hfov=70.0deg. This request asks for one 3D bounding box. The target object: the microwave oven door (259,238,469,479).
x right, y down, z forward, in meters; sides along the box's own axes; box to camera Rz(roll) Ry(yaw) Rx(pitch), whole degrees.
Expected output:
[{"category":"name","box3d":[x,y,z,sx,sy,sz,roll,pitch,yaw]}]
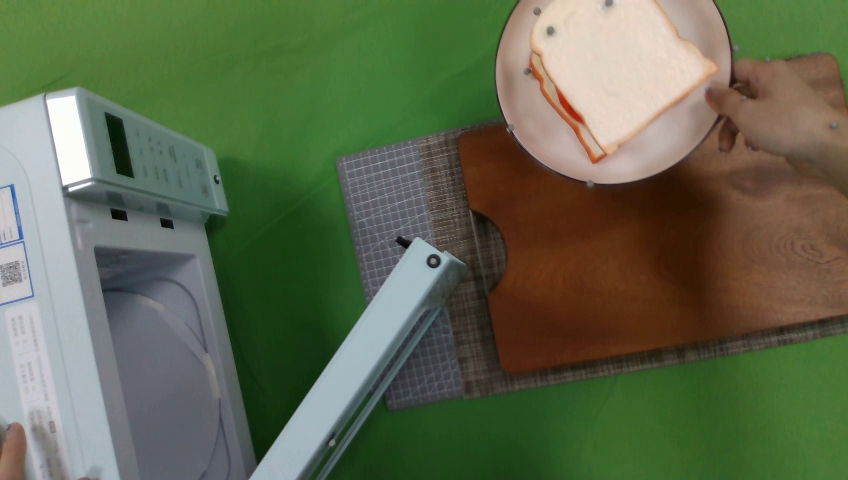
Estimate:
[{"category":"microwave oven door","box3d":[-0.076,0.153,0.560,0.039,0.244,0.356,34,92,8]}]

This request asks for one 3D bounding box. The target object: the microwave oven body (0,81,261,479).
[{"category":"microwave oven body","box3d":[-0.363,0.128,0.600,0.326,0.260,0.441,-15,87,5]}]

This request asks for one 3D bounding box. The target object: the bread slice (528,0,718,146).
[{"category":"bread slice","box3d":[0.152,-0.158,0.503,0.107,0.018,0.134,-41,81,12]}]

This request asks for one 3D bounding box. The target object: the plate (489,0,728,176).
[{"category":"plate","box3d":[0.165,-0.163,0.559,0.207,0.039,0.208,1,95,10]}]

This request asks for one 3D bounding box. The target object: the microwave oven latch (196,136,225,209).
[{"category":"microwave oven latch","box3d":[-0.252,-0.076,0.692,0.030,0.029,0.079,-15,87,6]}]

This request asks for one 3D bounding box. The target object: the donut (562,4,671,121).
[{"category":"donut","box3d":[0.168,-0.155,0.532,0.099,0.048,0.099,-1,97,-12]}]

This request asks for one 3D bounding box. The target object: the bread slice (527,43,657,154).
[{"category":"bread slice","box3d":[0.159,-0.161,0.562,0.105,0.019,0.131,-39,89,10]}]
